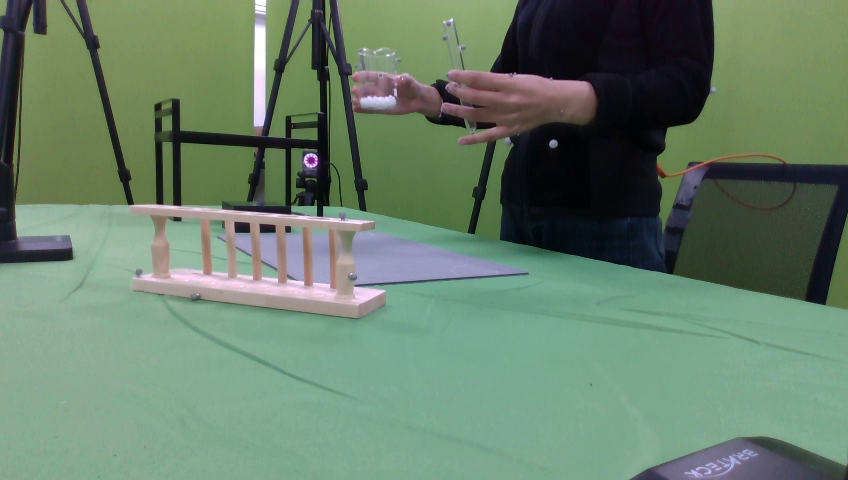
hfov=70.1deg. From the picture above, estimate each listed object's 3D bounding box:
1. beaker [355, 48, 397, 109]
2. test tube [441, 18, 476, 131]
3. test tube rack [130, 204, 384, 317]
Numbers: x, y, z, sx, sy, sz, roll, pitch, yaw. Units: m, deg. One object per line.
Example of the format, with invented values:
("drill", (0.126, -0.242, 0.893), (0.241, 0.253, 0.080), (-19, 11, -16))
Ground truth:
("beaker", (-0.085, -0.288, 1.085), (0.074, 0.100, 0.084), (-1, 9, 0))
("test tube", (0.048, -0.221, 0.815), (0.017, 0.150, 0.017), (-13, 19, 5))
("test tube rack", (-0.163, 0.013, 0.589), (0.242, 0.085, 0.067), (5, 8, 17))
